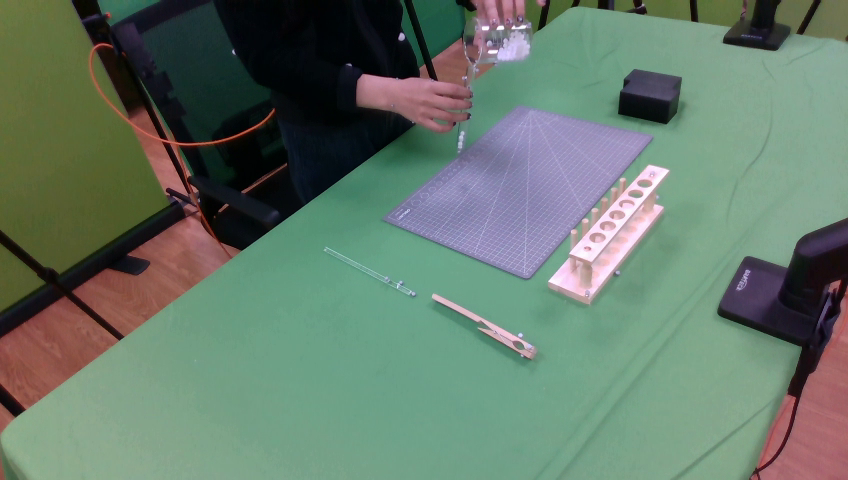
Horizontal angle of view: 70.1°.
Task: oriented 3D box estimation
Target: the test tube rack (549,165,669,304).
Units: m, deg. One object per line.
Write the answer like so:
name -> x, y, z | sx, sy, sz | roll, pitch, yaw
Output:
test tube rack -> 0.279, -0.018, 0.902 | 0.066, 0.085, 0.243 | 24, 50, 33

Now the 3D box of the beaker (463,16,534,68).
beaker -> 0.126, -0.333, 1.017 | 0.101, 0.084, 0.073 | -9, 36, -19

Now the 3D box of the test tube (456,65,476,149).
test tube -> 0.072, -0.231, 1.059 | 0.017, 0.150, 0.017 | 6, 29, -3

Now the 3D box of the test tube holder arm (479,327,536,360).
test tube holder arm -> 0.110, 0.134, 0.805 | 0.087, 0.015, 0.010 | 29, 83, 36

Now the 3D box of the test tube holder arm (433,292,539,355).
test tube holder arm -> 0.081, 0.113, 0.832 | 0.177, 0.015, 0.013 | 28, 82, 36

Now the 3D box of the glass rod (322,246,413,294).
glass rod -> -0.093, 0.045, 0.956 | 0.198, 0.008, 0.008 | 24, 51, 33
